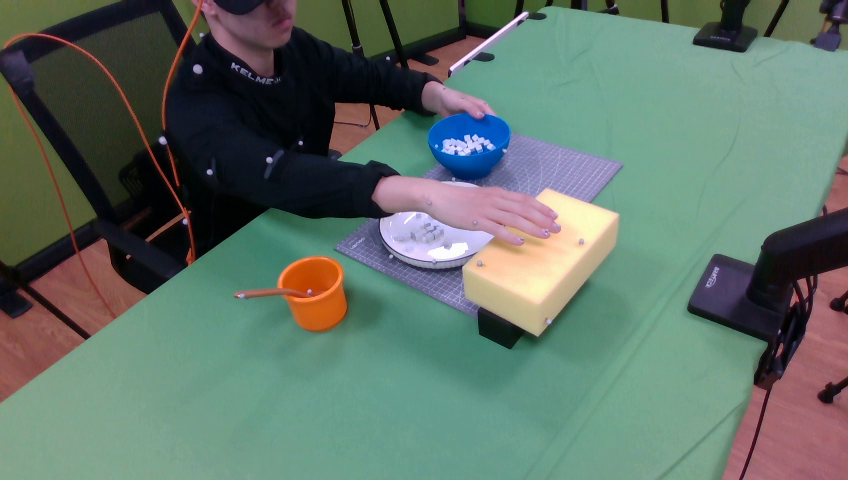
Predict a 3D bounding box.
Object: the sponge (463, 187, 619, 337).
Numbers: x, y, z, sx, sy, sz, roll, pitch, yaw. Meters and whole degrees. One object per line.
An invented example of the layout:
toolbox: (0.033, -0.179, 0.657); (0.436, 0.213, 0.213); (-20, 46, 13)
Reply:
sponge: (0.160, 0.022, 0.814); (0.117, 0.061, 0.207); (25, 50, 32)

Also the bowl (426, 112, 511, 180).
bowl: (0.084, -0.161, 1.098); (0.151, 0.077, 0.150); (-4, 40, 4)

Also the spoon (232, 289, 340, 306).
spoon: (-0.181, 0.074, 0.811); (0.041, 0.195, 0.021); (16, 90, 31)

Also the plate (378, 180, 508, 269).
plate: (0.031, -0.022, 0.974); (0.209, 0.038, 0.208); (-4, 40, 4)
